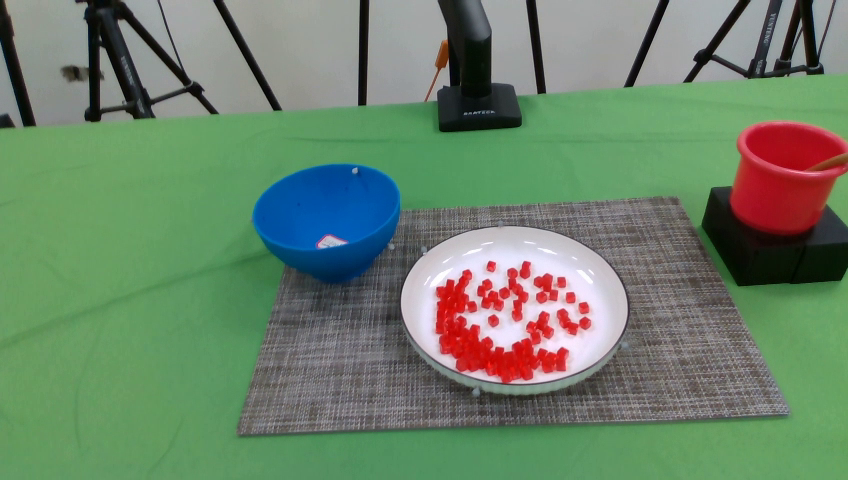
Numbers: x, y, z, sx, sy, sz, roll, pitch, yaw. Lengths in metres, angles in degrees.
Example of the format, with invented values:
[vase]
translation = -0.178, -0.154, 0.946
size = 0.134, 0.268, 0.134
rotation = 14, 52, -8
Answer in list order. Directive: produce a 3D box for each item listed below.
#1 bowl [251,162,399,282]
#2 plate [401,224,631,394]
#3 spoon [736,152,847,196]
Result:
[bowl]
translation = -0.097, -0.009, 0.637
size = 0.151, 0.077, 0.150
rotation = -3, 40, 3
[plate]
translation = 0.083, 0.062, 0.566
size = 0.207, 0.039, 0.205
rotation = -3, 39, 3
[spoon]
translation = 0.363, -0.067, 0.536
size = 0.041, 0.193, 0.021
rotation = -26, 90, -24
